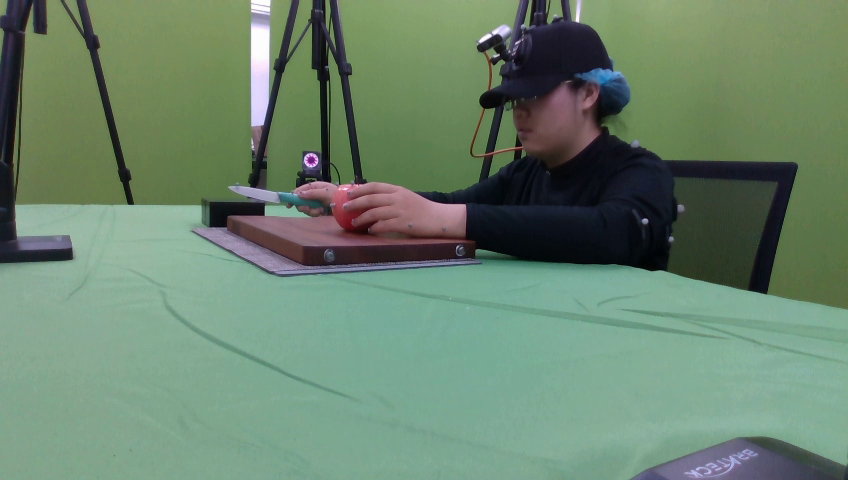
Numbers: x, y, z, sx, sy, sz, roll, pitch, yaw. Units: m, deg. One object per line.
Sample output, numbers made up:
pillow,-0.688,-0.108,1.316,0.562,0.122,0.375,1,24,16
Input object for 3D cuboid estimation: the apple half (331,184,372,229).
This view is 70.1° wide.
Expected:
apple half,-0.123,-0.056,0.973,0.082,0.081,0.032,-4,14,-42

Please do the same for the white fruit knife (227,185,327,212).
white fruit knife,-0.289,-0.086,1.211,0.208,0.027,0.016,10,23,-30

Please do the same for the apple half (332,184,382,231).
apple half,-0.098,-0.050,0.945,0.081,0.074,0.053,1,11,-43
